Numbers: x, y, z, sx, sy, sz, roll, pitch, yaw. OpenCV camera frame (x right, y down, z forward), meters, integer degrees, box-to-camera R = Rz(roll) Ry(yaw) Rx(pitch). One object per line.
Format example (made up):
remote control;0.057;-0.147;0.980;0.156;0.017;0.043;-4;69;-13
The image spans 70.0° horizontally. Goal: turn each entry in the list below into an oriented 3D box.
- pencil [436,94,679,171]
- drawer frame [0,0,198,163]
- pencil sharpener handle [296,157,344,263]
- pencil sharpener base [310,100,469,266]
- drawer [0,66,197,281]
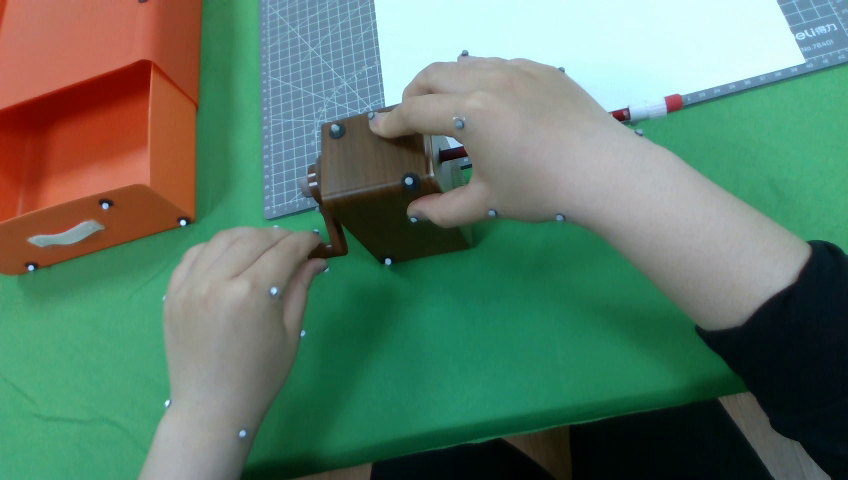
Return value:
pencil;0.051;-0.056;0.360;0.194;0.012;0.012;-14;64;11
drawer frame;-0.322;-0.193;0.582;0.201;0.083;0.211;-15;63;11
pencil sharpener handle;-0.073;-0.018;0.393;0.030;0.036;0.068;-11;104;14
pencil sharpener base;-0.020;-0.032;0.402;0.076;0.108;0.061;-11;64;14
drawer;-0.303;-0.088;0.534;0.194;0.074;0.210;-16;63;11
